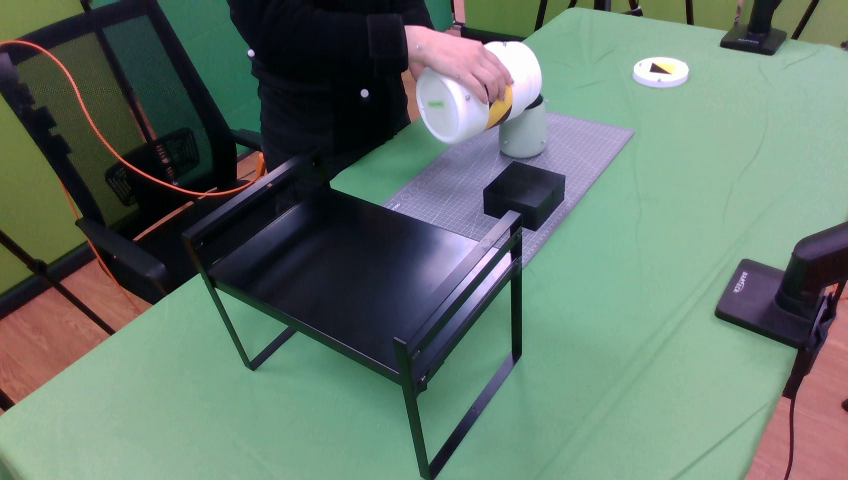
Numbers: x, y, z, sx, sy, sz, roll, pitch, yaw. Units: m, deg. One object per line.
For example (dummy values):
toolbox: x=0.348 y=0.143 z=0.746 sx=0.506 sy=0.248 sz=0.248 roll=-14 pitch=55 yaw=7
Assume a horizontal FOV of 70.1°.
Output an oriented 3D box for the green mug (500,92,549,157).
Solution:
green mug: x=0.196 y=-0.229 z=1.145 sx=0.092 sy=0.105 sz=0.125 roll=15 pitch=46 yaw=25

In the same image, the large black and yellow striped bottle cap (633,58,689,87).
large black and yellow striped bottle cap: x=0.522 y=-0.370 z=1.331 sx=0.115 sy=0.019 sz=0.114 roll=-4 pitch=41 yaw=4

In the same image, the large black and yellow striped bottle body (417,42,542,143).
large black and yellow striped bottle body: x=0.095 y=-0.252 z=1.011 sx=0.185 sy=0.131 sz=0.129 roll=-28 pitch=44 yaw=-25
